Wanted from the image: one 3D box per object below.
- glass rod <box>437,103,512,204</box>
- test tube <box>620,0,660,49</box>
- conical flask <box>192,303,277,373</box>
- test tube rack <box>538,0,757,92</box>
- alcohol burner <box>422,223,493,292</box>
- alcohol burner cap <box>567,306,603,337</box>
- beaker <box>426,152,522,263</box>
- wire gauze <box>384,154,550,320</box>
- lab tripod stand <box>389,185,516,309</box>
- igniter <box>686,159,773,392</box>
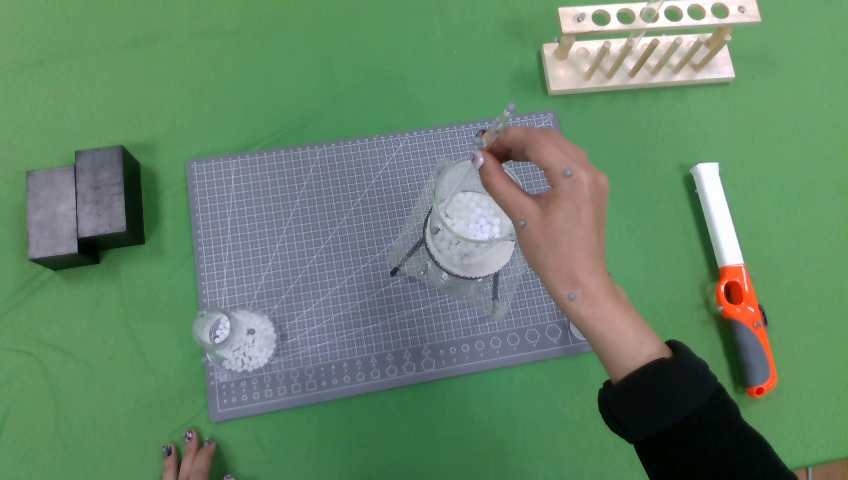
[{"bbox_3d":[0.033,-0.061,0.473,0.008,0.200,0.008,3,76,-11],"label":"glass rod"},{"bbox_3d":[0.256,-0.266,0.698,0.017,0.151,0.017,0,75,-1],"label":"test tube"},{"bbox_3d":[-0.194,0.092,0.604,0.075,0.122,0.075,1,75,-4],"label":"conical flask"},{"bbox_3d":[0.272,-0.241,0.744,0.243,0.085,0.066,-6,75,-5],"label":"test tube rack"},{"bbox_3d":[0.037,0.015,0.645,0.078,0.119,0.077,0,76,-2],"label":"alcohol burner"},{"bbox_3d":[0.181,0.088,0.673,0.034,0.048,0.033,1,74,-4],"label":"alcohol burner cap"},{"bbox_3d":[0.041,-0.021,0.526,0.084,0.100,0.074,40,77,7],"label":"beaker"},{"bbox_3d":[0.042,-0.006,0.572,0.125,0.011,0.121,27,78,2],"label":"wire gauze"},{"bbox_3d":[0.036,0.009,0.636,0.148,0.132,0.147,1,77,-2],"label":"lab tripod stand"},{"bbox_3d":[0.357,0.036,0.709,0.057,0.025,0.275,-4,76,-16],"label":"igniter"}]
